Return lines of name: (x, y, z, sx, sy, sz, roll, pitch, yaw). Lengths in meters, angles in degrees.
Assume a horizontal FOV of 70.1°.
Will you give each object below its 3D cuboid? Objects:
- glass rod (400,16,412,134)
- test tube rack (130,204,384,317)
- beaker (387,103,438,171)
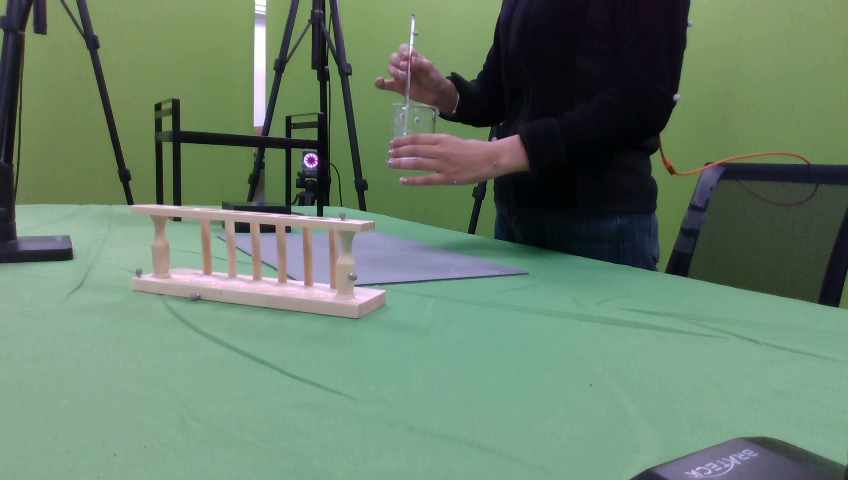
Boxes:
glass rod: (-0.028, -0.266, 0.971, 0.008, 0.199, 0.008, 4, -8, 1)
test tube rack: (-0.163, 0.013, 0.589, 0.242, 0.085, 0.067, 5, 8, 17)
beaker: (-0.019, -0.160, 0.950, 0.084, 0.100, 0.073, -1, 10, -28)
